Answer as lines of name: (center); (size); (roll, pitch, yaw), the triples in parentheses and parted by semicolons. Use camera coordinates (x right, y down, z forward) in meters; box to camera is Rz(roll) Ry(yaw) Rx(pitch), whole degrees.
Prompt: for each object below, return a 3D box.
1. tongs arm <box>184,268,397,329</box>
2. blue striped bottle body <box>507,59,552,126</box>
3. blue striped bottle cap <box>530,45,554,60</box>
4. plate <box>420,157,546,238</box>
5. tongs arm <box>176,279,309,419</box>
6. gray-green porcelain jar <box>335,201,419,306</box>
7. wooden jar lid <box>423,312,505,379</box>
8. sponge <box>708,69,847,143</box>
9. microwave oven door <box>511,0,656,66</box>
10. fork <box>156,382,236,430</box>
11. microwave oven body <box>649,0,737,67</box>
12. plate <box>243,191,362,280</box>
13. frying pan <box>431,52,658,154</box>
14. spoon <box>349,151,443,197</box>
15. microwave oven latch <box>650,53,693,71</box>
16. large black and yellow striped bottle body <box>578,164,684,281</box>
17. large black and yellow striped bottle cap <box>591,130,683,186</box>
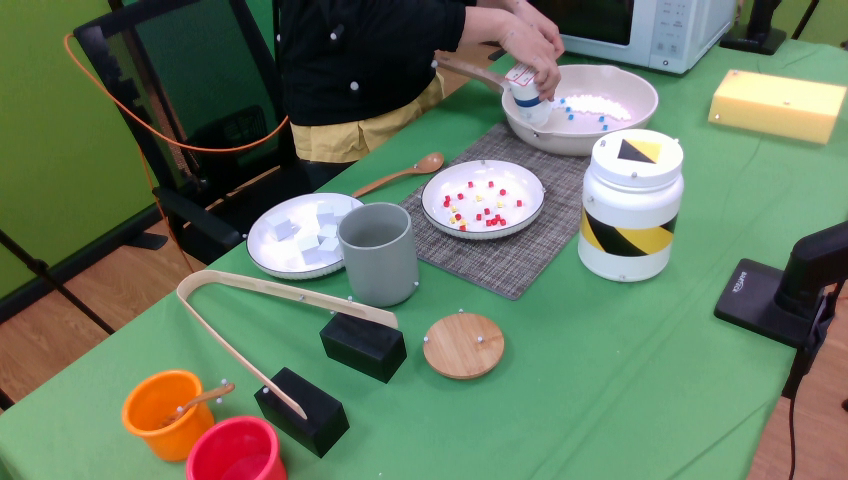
tongs arm: (-0.202, 0.084, 0.848); (0.382, 0.027, 0.051); (11, 45, 35)
blue striped bottle body: (0.193, -0.259, 1.084); (0.063, 0.122, 0.063); (-11, 54, 17)
blue striped bottle cap: (0.236, -0.376, 1.209); (0.044, 0.020, 0.044); (13, 12, -2)
plate: (0.099, -0.067, 1.017); (0.209, 0.038, 0.208); (-4, 40, 4)
tongs arm: (-0.254, 0.133, 0.802); (0.028, 0.028, 0.384); (-41, 41, -23)
gray-green porcelain jar: (-0.064, 0.024, 0.872); (0.106, 0.127, 0.105); (-4, 41, 4)
wooden jar lid: (0.053, 0.142, 0.800); (0.108, 0.021, 0.108); (-5, 39, 4)
sponge: (0.663, -0.256, 1.141); (0.205, 0.061, 0.118); (18, 47, 28)
microwave oven door: (0.351, -0.540, 1.349); (0.353, 0.245, 0.039); (24, 50, 31)
fork: (-0.262, 0.189, 0.690); (0.018, 0.206, 0.028); (49, 43, -7)
microwave oven body: (0.475, -0.602, 1.411); (0.438, 0.261, 0.327); (23, 50, 32)
plate: (-0.188, -0.005, 0.992); (0.207, 0.039, 0.206); (-4, 40, 3)
frying pan: (0.216, -0.302, 1.223); (0.484, 0.103, 0.308); (29, 49, 24)
spoon: (-0.051, -0.123, 1.120); (0.194, 0.022, 0.041); (-22, 60, -18)
microwave oven latch: (0.531, -0.386, 1.301); (0.078, 0.029, 0.030); (26, 51, 33)
large black and yellow striped bottle body: (0.292, -0.046, 0.859); (0.131, 0.185, 0.130); (-4, 41, 4)
large black and yellow striped bottle cap: (0.282, -0.111, 0.803); (0.115, 0.019, 0.114); (-3, 41, 3)
